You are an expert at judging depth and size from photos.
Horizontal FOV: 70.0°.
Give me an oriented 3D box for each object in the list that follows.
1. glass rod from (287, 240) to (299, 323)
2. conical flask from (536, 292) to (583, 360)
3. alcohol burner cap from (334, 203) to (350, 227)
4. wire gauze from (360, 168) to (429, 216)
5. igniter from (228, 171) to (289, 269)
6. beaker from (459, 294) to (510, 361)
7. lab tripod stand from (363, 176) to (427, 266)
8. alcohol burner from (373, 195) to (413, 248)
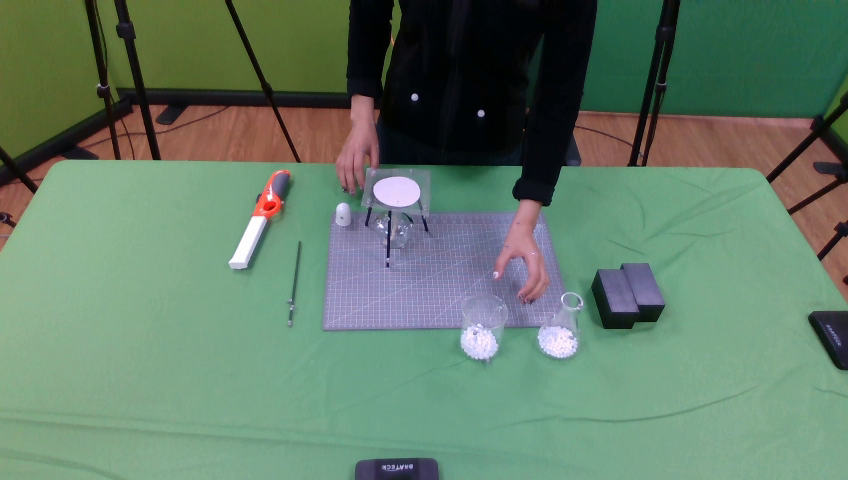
[{"bbox_3d":[-0.242,0.072,1.119,0.008,0.008,0.198,-1,47,-5],"label":"glass rod"},{"bbox_3d":[0.234,0.139,1.015,0.075,0.122,0.075,2,46,-2],"label":"conical flask"},{"bbox_3d":[-0.166,-0.054,1.221,0.034,0.048,0.033,2,46,-2],"label":"alcohol burner cap"},{"bbox_3d":[-0.052,-0.093,1.111,0.125,0.011,0.120,5,44,-1],"label":"wire gauze"},{"bbox_3d":[-0.328,-0.049,1.218,0.057,0.025,0.275,1,45,11],"label":"igniter"},{"bbox_3d":[0.095,0.147,1.012,0.083,0.101,0.074,26,49,21],"label":"beaker"},{"bbox_3d":[-0.058,-0.047,1.159,0.148,0.132,0.147,3,44,-2],"label":"lab tripod stand"},{"bbox_3d":[-0.059,-0.041,1.167,0.078,0.119,0.077,4,46,-4],"label":"alcohol burner"}]
